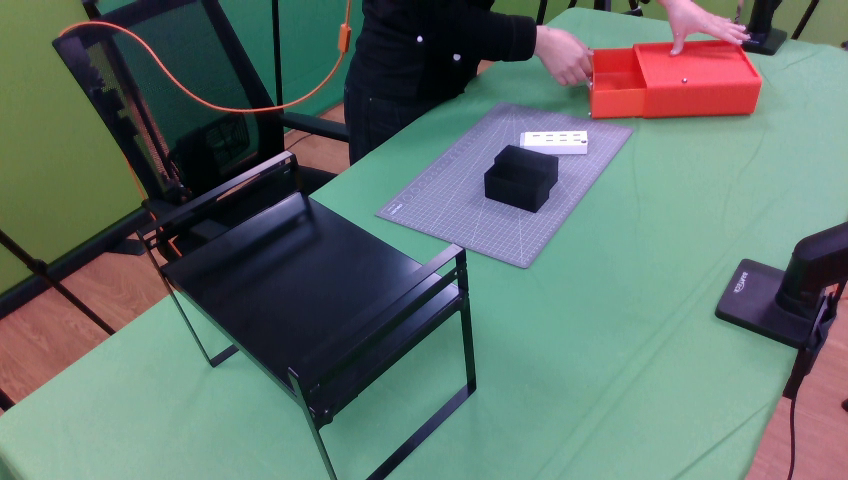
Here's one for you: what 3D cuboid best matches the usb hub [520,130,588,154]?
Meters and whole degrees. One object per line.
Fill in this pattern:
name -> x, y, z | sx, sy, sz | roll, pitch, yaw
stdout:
usb hub -> 0.246, -0.185, 1.147 | 0.125, 0.025, 0.049 | 1, 42, 10

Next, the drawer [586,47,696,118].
drawer -> 0.446, -0.330, 1.251 | 0.211, 0.073, 0.194 | 2, 41, 9

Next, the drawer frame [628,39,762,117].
drawer frame -> 0.540, -0.332, 1.234 | 0.213, 0.083, 0.201 | 0, 41, 7
